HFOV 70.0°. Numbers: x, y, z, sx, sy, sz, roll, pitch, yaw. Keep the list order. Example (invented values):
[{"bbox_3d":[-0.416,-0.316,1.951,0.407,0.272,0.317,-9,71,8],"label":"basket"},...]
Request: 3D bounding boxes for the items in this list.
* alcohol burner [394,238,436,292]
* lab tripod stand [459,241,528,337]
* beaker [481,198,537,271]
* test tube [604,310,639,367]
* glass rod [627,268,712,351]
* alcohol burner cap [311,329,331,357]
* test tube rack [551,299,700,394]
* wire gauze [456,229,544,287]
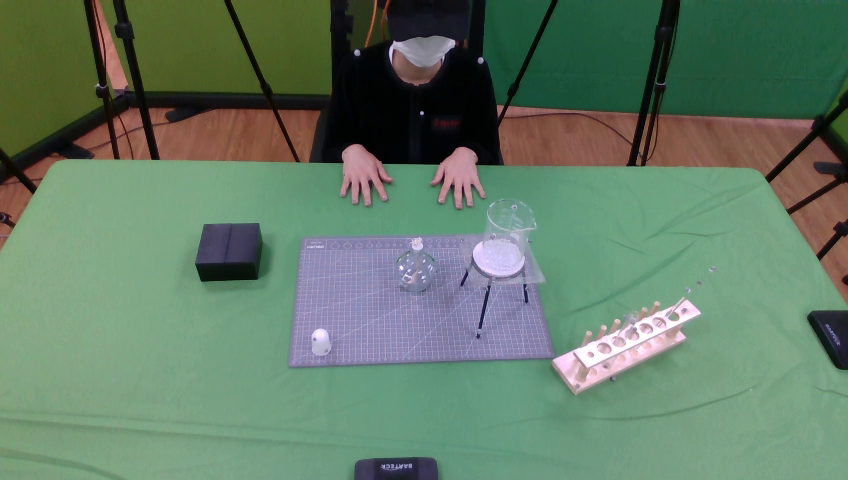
[{"bbox_3d":[-0.016,0.038,1.093,0.078,0.119,0.077,2,48,-2],"label":"alcohol burner"},{"bbox_3d":[0.122,0.075,1.054,0.148,0.132,0.147,3,44,-3],"label":"lab tripod stand"},{"bbox_3d":[0.134,-0.005,0.974,0.084,0.101,0.074,23,49,16],"label":"beaker"},{"bbox_3d":[0.310,0.158,0.957,0.017,0.151,0.017,1,49,-1],"label":"test tube"},{"bbox_3d":[0.399,0.117,0.995,0.008,0.200,0.008,26,29,-15],"label":"glass rod"},{"bbox_3d":[-0.173,0.168,1.005,0.034,0.048,0.033,2,46,-2],"label":"alcohol burner cap"},{"bbox_3d":[0.339,0.166,1.021,0.242,0.085,0.066,-19,50,-21],"label":"test tube rack"},{"bbox_3d":[0.125,0.030,1.008,0.125,0.011,0.120,-3,48,-11],"label":"wire gauze"}]
